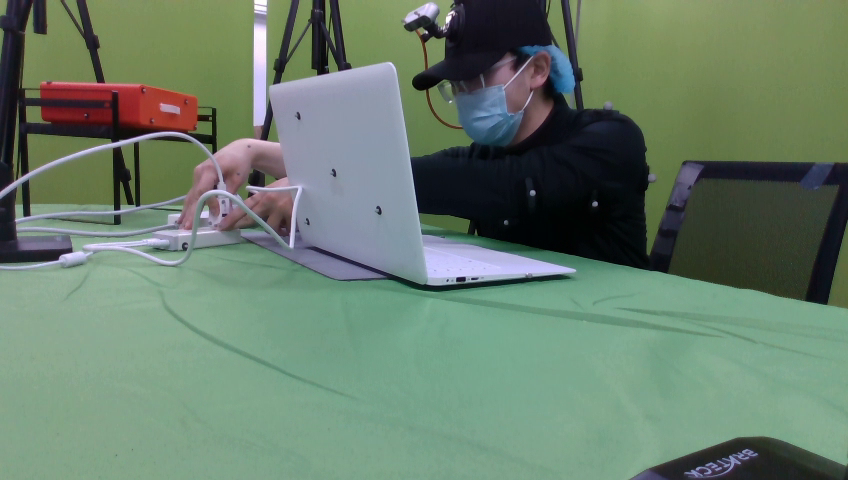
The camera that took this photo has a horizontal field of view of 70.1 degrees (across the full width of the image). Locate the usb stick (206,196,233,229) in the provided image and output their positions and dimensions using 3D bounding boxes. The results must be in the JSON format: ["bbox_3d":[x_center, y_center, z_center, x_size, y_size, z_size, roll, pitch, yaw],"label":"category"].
[{"bbox_3d":[-0.320,-0.037,0.939,0.027,0.059,0.021,13,-1,18],"label":"usb stick"}]

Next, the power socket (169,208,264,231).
[{"bbox_3d":[-0.381,-0.038,1.128,0.072,0.032,0.227,4,8,17],"label":"power socket"}]

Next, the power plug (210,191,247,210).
[{"bbox_3d":[-0.386,-0.070,1.204,0.072,0.052,0.035,7,11,25],"label":"power plug"}]

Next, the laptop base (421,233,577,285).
[{"bbox_3d":[0.007,0.022,0.850,0.237,0.023,0.352,1,7,-34],"label":"laptop base"}]

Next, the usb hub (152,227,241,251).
[{"bbox_3d":[-0.338,-0.003,0.907,0.049,0.025,0.125,6,9,28],"label":"usb hub"}]

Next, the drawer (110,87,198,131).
[{"bbox_3d":[-0.602,-0.263,1.225,0.211,0.073,0.195,3,8,10],"label":"drawer"}]

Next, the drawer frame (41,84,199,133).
[{"bbox_3d":[-0.604,-0.264,1.225,0.213,0.082,0.202,3,8,8],"label":"drawer frame"}]

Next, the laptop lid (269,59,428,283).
[{"bbox_3d":[-0.110,-0.087,0.752,0.013,0.241,0.355,-18,19,-30],"label":"laptop lid"}]

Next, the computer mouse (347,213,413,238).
[{"bbox_3d":[-0.079,-0.025,1.080,0.117,0.041,0.062,-5,12,-18],"label":"computer mouse"}]
